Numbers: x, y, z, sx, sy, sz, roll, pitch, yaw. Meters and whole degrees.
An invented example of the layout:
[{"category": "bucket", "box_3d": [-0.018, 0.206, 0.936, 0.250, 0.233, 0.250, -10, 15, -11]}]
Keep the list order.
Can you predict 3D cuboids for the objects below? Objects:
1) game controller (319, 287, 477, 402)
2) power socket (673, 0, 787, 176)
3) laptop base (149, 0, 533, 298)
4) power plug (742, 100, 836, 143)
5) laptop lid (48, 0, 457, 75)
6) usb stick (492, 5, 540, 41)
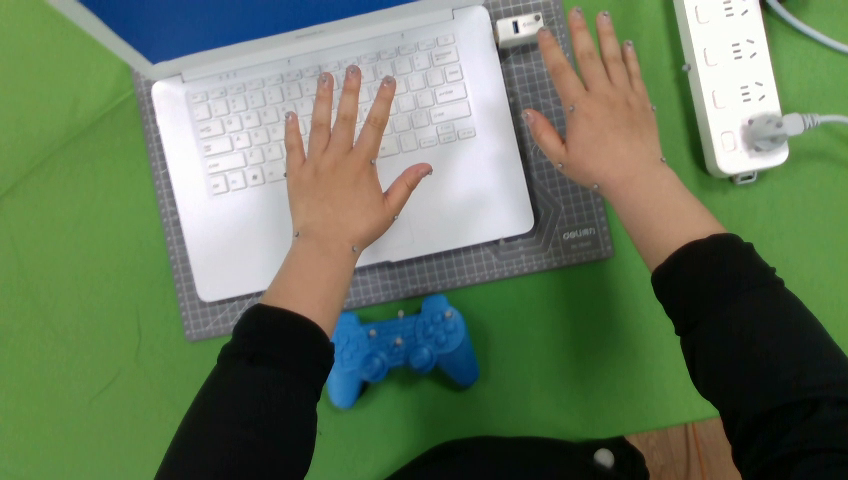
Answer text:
[{"category": "game controller", "box_3d": [-0.029, 0.104, 0.604, 0.155, 0.051, 0.097, -11, 86, 2]}, {"category": "power socket", "box_3d": [0.296, -0.176, 0.592, 0.072, 0.032, 0.226, -11, 90, 4]}, {"category": "laptop base", "box_3d": [-0.085, -0.092, 0.617, 0.354, 0.023, 0.235, -13, 93, 3]}, {"category": "power plug", "box_3d": [0.338, -0.109, 0.571, 0.072, 0.052, 0.035, 0, 89, -1]}, {"category": "laptop lid", "box_3d": [-0.123, -0.225, 0.500, 0.356, 0.242, 0.013, -13, 81, 4]}, {"category": "usb stick", "box_3d": [0.083, -0.212, 0.598, 0.059, 0.027, 0.021, -11, 89, 4]}]
